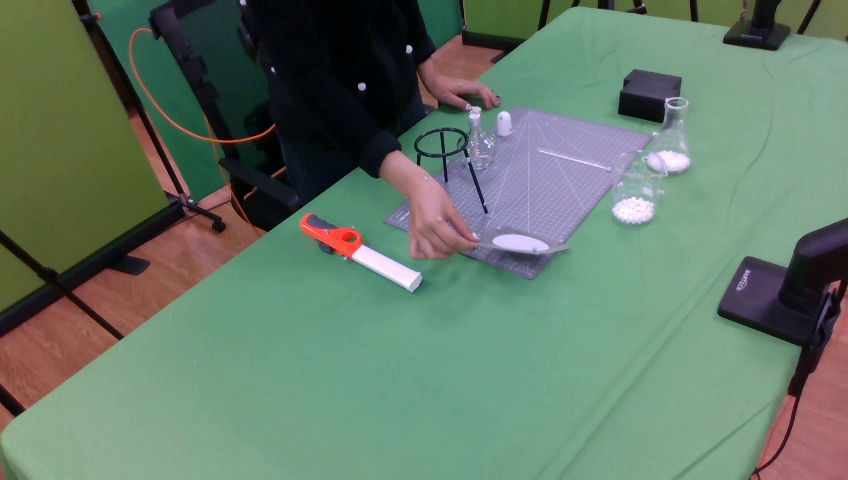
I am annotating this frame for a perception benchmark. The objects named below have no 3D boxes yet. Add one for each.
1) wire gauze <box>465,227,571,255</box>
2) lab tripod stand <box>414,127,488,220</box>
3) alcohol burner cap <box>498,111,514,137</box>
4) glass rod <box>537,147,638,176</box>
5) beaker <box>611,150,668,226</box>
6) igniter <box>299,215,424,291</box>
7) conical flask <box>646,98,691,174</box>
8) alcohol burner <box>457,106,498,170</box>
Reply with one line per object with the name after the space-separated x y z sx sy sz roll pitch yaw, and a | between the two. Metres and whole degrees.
0.145 0.003 0.920 0.120 0.011 0.126 15 17 33 | wire gauze
0.036 -0.115 1.022 0.148 0.132 0.147 -7 39 6 | lab tripod stand
0.163 -0.235 1.211 0.034 0.048 0.033 -6 40 6 | alcohol burner cap
0.294 -0.145 1.104 0.198 0.008 0.008 22 50 31 | glass rod
0.337 -0.079 0.953 0.083 0.101 0.074 25 51 33 | beaker
-0.112 0.015 0.983 0.274 0.025 0.057 25 61 34 | igniter
0.426 -0.180 1.037 0.075 0.122 0.075 -5 40 5 | conical flask
0.097 -0.192 1.117 0.078 0.119 0.077 -7 38 6 | alcohol burner
